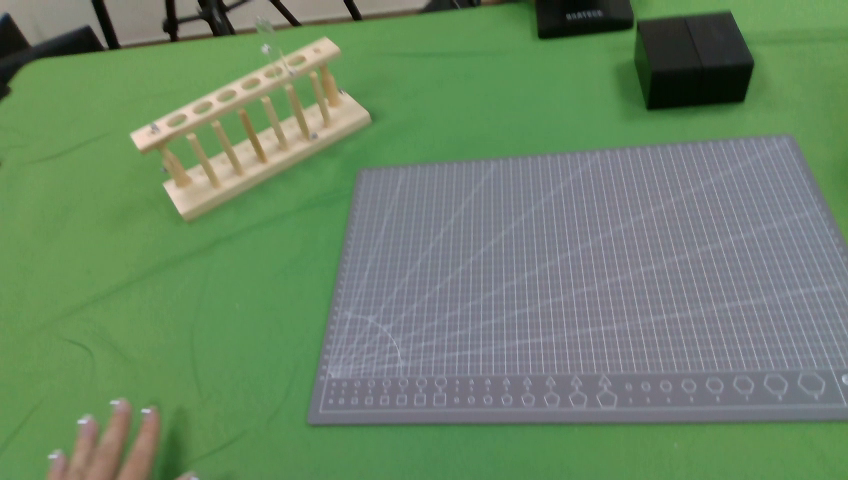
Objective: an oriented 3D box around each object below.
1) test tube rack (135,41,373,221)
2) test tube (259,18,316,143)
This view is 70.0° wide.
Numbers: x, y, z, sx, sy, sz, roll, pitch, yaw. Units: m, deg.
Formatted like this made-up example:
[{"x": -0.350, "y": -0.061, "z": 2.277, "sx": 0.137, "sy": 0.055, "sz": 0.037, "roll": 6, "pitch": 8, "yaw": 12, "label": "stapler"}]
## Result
[{"x": -0.185, "y": -0.127, "z": 0.688, "sx": 0.242, "sy": 0.086, "sz": 0.066, "roll": -32, "pitch": 51, "yaw": -16, "label": "test tube rack"}, {"x": -0.146, "y": -0.168, "z": 0.656, "sx": 0.017, "sy": 0.152, "sz": 0.017, "roll": -6, "pitch": 46, "yaw": 7, "label": "test tube"}]
